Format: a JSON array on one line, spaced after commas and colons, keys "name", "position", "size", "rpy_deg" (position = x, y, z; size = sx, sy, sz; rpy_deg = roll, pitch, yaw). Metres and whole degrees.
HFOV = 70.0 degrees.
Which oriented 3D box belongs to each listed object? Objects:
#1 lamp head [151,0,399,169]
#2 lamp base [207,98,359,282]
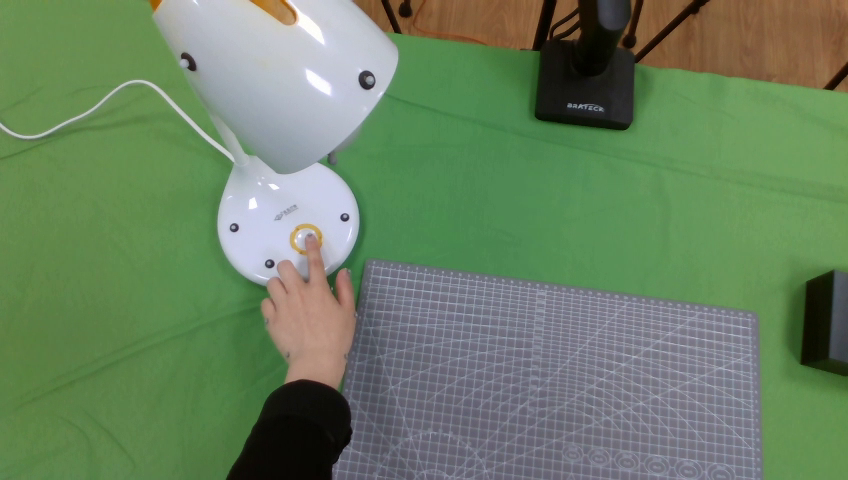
[{"name": "lamp head", "position": [-0.095, -0.120, 0.354], "size": [0.124, 0.111, 0.112], "rpy_deg": [41, 72, -29]}, {"name": "lamp base", "position": [-0.164, -0.061, 0.629], "size": [0.178, 0.181, 0.160], "rpy_deg": [41, 76, 14]}]
